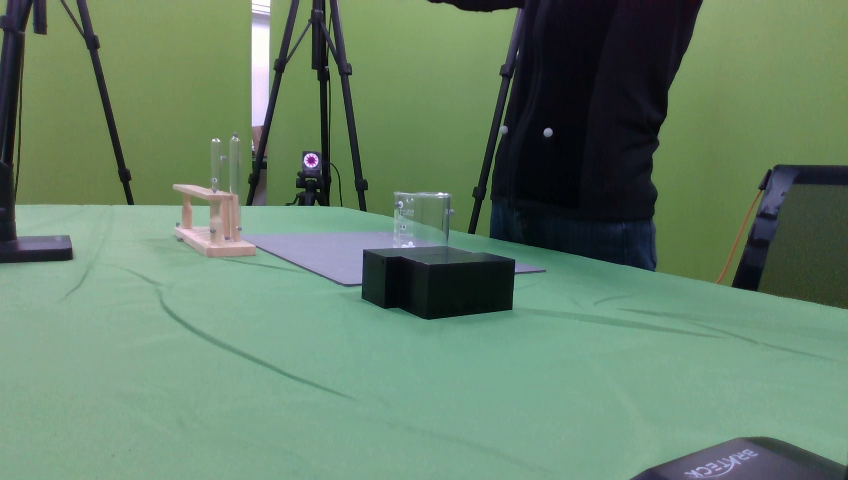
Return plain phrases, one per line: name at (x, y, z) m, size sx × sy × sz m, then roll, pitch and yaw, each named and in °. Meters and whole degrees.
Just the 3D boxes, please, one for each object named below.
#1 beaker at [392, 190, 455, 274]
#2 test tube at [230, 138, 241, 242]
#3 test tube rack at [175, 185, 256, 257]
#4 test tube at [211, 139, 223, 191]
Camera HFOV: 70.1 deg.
beaker at (-0.005, -0.011, 0.760) m, size 0.074 × 0.100 × 0.083 m, roll -2°, pitch 8°, yaw -32°
test tube at (-0.270, -0.071, 0.866) m, size 0.017 × 0.150 × 0.017 m, roll 2°, pitch 8°, yaw 0°
test tube rack at (-0.324, -0.035, 0.922) m, size 0.067 × 0.085 × 0.241 m, roll -2°, pitch 9°, yaw -32°
test tube at (-0.330, -0.086, 0.965) m, size 0.017 × 0.150 × 0.017 m, roll 1°, pitch 6°, yaw 0°
